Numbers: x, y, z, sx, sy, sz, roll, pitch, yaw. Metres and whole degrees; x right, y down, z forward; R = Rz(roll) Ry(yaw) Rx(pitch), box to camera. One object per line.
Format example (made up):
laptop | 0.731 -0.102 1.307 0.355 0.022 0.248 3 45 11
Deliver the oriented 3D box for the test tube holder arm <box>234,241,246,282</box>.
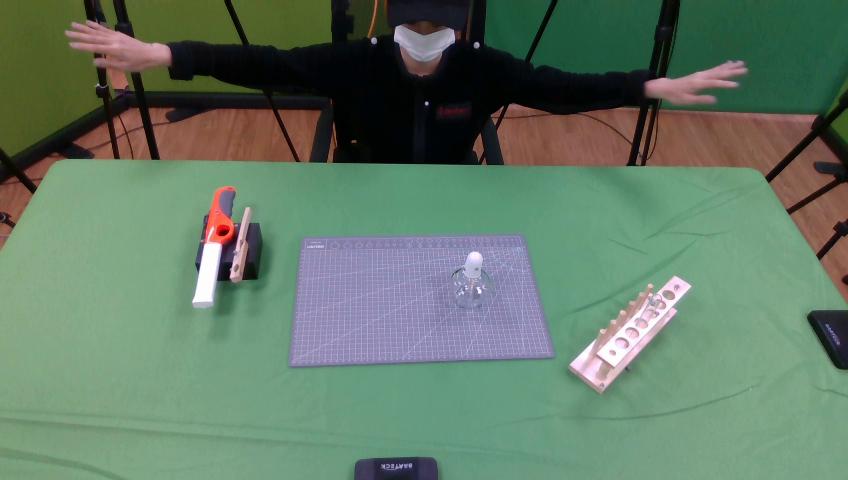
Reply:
test tube holder arm | -0.324 0.037 1.072 0.010 0.015 0.087 -6 46 -2

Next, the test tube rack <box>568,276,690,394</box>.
test tube rack | 0.354 0.149 1.039 0.242 0.085 0.066 -34 56 -31

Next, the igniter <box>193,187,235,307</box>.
igniter | -0.379 0.003 1.096 0.057 0.025 0.274 -1 49 -6

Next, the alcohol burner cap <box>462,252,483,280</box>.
alcohol burner cap | 0.085 0.042 1.047 0.034 0.048 0.033 4 44 -4

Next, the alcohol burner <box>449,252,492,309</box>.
alcohol burner | 0.084 0.066 1.073 0.078 0.120 0.077 1 44 -1

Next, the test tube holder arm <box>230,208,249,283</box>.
test tube holder arm | -0.335 0.006 1.102 0.013 0.015 0.177 -7 46 -2

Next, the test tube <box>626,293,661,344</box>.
test tube | 0.355 0.133 0.984 0.017 0.151 0.017 1 52 0
